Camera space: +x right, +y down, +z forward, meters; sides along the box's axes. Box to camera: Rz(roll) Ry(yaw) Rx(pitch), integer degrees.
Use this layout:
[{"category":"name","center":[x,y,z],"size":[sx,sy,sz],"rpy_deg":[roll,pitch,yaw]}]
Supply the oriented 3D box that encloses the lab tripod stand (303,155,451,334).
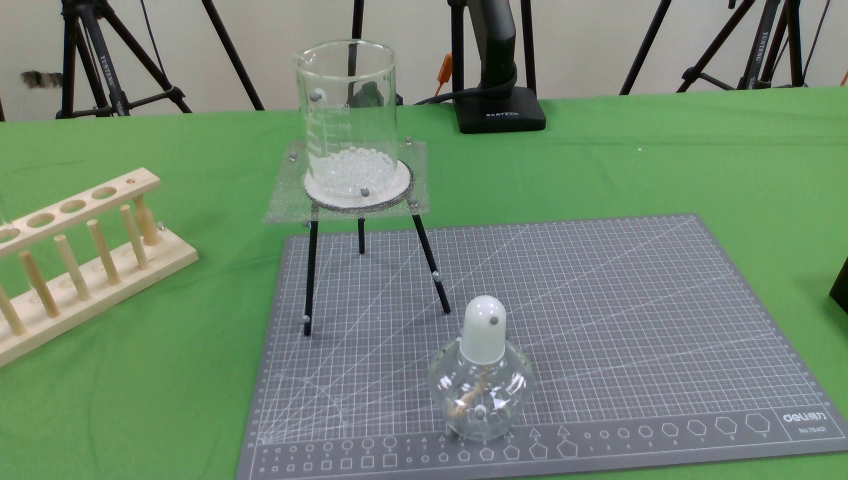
[{"category":"lab tripod stand","center":[-0.047,0.003,0.530],"size":[0.148,0.132,0.147],"rpy_deg":[0,36,0]}]

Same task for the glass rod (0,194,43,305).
[{"category":"glass rod","center":[-0.358,-0.027,0.513],"size":[0.008,0.201,0.008],"rpy_deg":[0,30,0]}]

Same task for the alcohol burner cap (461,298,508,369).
[{"category":"alcohol burner cap","center":[0.042,0.060,0.409],"size":[0.034,0.048,0.033],"rpy_deg":[1,39,-1]}]

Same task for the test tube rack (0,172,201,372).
[{"category":"test tube rack","center":[-0.335,0.032,0.544],"size":[0.066,0.086,0.242],"rpy_deg":[28,46,33]}]

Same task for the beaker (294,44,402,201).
[{"category":"beaker","center":[-0.058,-0.088,0.459],"size":[0.083,0.101,0.074],"rpy_deg":[22,42,25]}]

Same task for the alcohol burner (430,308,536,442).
[{"category":"alcohol burner","center":[0.042,0.089,0.431],"size":[0.078,0.120,0.077],"rpy_deg":[0,39,1]}]

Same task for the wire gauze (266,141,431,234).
[{"category":"wire gauze","center":[-0.056,-0.048,0.487],"size":[0.121,0.011,0.124],"rpy_deg":[-1,39,-1]}]
